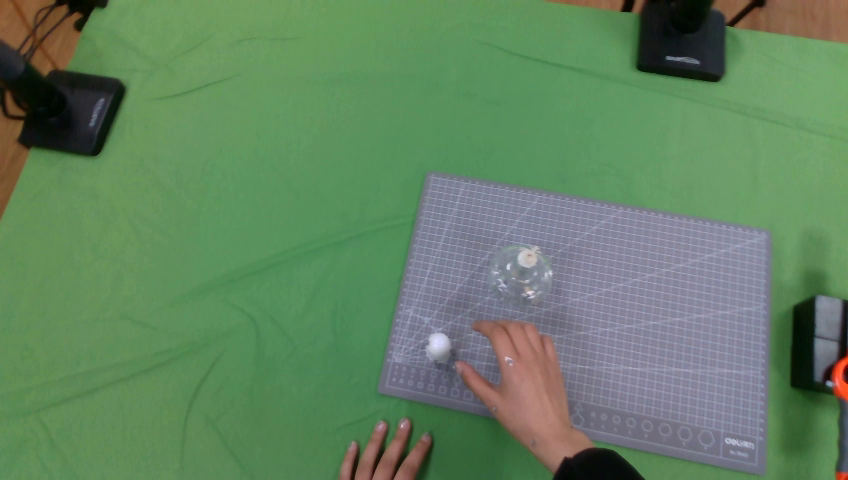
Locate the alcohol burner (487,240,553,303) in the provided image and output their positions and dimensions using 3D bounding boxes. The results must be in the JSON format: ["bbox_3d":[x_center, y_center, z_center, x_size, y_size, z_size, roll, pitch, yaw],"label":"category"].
[{"bbox_3d":[0.114,0.032,0.706,0.078,0.120,0.077,0,70,0],"label":"alcohol burner"}]

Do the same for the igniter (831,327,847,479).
[{"bbox_3d":[0.480,0.128,0.665,0.057,0.025,0.275,14,70,9],"label":"igniter"}]

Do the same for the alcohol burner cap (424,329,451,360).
[{"bbox_3d":[0.016,0.122,0.715,0.034,0.048,0.033,0,70,1],"label":"alcohol burner cap"}]
